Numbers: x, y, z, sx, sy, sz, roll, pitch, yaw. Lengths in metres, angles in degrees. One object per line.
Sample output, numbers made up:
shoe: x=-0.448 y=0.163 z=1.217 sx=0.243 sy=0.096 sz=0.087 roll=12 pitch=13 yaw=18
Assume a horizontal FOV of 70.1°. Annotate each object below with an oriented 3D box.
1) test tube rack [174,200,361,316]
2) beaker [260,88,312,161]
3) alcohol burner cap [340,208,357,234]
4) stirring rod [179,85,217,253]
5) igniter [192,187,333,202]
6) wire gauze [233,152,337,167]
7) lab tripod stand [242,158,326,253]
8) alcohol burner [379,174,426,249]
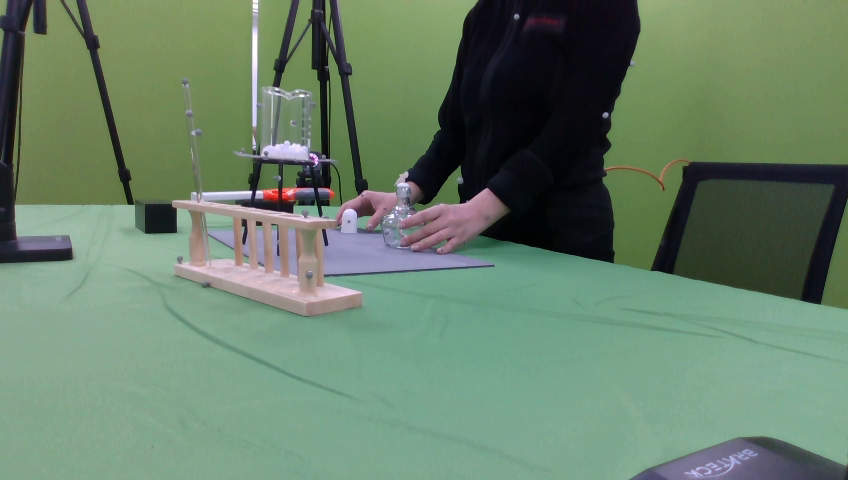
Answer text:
test tube rack: x=-0.169 y=0.009 z=0.622 sx=0.241 sy=0.085 sz=0.067 roll=9 pitch=9 yaw=41
beaker: x=-0.201 y=-0.166 z=0.876 sx=0.074 sy=0.100 sz=0.083 roll=1 pitch=7 yaw=-18
alcohol burner cap: x=-0.142 y=-0.036 z=1.136 sx=0.034 sy=0.048 sz=0.034 roll=2 pitch=7 yaw=0
stirring rod: x=-0.237 y=-0.073 z=0.634 sx=0.006 sy=0.176 sz=0.014 roll=0 pitch=10 yaw=42
igniter: x=-0.316 y=-0.090 z=1.213 sx=0.278 sy=0.025 sz=0.057 roll=-5 pitch=12 yaw=-31
wire gauze: x=-0.205 y=-0.119 z=0.887 sx=0.122 sy=0.011 sz=0.124 roll=2 pitch=4 yaw=-32
lab tripod stand: x=-0.207 y=-0.054 z=0.895 sx=0.148 sy=0.131 sz=0.148 roll=2 pitch=5 yaw=0
alcohol burner: x=-0.034 y=-0.046 z=0.975 sx=0.078 sy=0.119 sz=0.078 roll=1 pitch=6 yaw=0
